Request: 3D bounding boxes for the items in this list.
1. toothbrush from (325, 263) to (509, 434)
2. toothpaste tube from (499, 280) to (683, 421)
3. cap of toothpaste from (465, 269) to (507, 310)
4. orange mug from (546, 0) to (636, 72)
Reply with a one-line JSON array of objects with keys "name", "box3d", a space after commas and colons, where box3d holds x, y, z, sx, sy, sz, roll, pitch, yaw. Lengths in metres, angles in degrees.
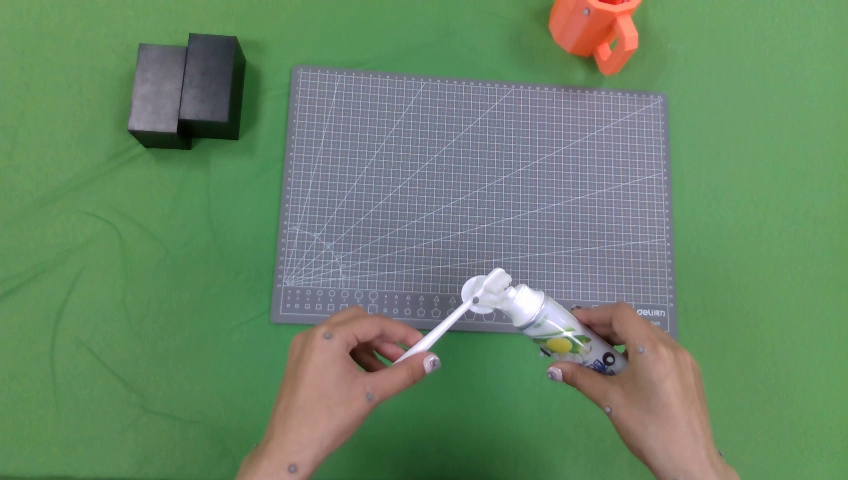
[{"name": "toothbrush", "box3d": [-0.003, 0.080, 0.455, 0.182, 0.016, 0.015, -41, 120, -12]}, {"name": "toothpaste tube", "box3d": [0.125, 0.088, 0.478, 0.165, 0.055, 0.034, 39, 46, -8]}, {"name": "cap of toothpaste", "box3d": [0.050, 0.039, 0.486, 0.037, 0.011, 0.037, -1, 63, 3]}, {"name": "orange mug", "box3d": [0.203, -0.265, 0.703, 0.083, 0.101, 0.125, -18, 76, -8]}]
